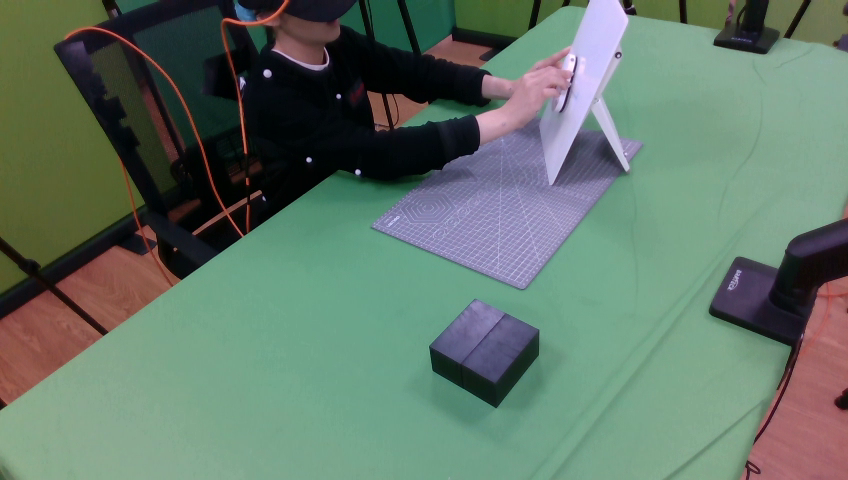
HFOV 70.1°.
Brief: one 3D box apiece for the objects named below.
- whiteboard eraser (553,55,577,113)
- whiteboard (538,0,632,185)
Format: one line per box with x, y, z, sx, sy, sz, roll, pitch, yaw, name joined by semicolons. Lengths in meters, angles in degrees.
0.251;-0.279;1.083;0.019;0.101;0.041;11;11;-6;whiteboard eraser
0.327;-0.259;1.055;0.144;0.305;0.216;13;40;-6;whiteboard
